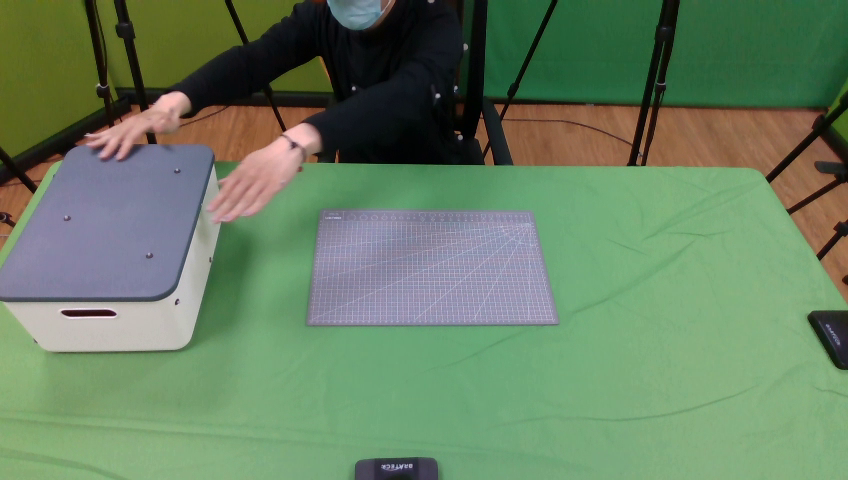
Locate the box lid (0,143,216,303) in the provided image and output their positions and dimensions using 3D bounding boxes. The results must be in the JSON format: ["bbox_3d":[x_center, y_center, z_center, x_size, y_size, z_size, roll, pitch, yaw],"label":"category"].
[{"bbox_3d":[-0.506,-0.045,1.002,0.263,0.015,0.369,0,46,-5],"label":"box lid"}]

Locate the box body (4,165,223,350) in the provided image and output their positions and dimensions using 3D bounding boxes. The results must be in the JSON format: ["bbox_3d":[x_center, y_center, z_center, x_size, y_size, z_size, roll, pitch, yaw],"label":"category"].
[{"bbox_3d":[-0.510,0.008,1.054,0.254,0.161,0.361,-1,46,-5],"label":"box body"}]
